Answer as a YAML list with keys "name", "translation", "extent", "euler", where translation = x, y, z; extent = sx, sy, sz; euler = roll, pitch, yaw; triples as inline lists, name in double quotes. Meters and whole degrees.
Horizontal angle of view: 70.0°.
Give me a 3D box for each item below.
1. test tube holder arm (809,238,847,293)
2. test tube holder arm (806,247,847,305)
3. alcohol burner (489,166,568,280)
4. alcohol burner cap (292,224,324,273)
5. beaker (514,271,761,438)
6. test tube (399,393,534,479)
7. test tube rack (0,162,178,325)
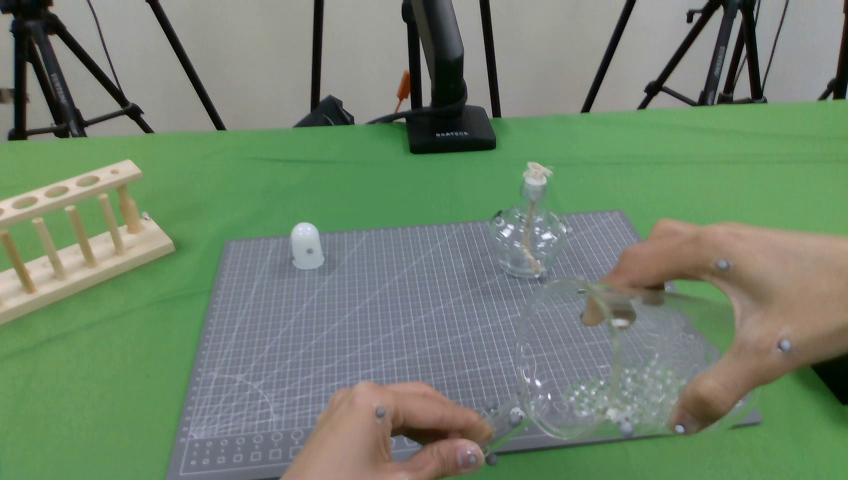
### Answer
- name: "test tube holder arm"
  translation: [0.359, 0.028, 0.521]
  extent: [0.015, 0.010, 0.087]
  euler: [2, 37, 2]
- name: "test tube holder arm"
  translation: [0.357, 0.059, 0.488]
  extent: [0.015, 0.013, 0.177]
  euler: [2, 36, 2]
- name: "alcohol burner"
  translation: [0.104, -0.020, 0.594]
  extent: [0.078, 0.120, 0.077]
  euler: [1, 37, -1]
- name: "alcohol burner cap"
  translation: [-0.121, 0.006, 0.620]
  extent: [0.034, 0.048, 0.033]
  euler: [0, 36, 1]
- name: "beaker"
  translation: [0.105, 0.062, 0.302]
  extent: [0.101, 0.084, 0.073]
  euler: [8, 42, -25]
- name: "test tube"
  translation: [0.003, 0.131, 0.335]
  extent: [0.017, 0.150, 0.017]
  euler: [37, 25, -20]
- name: "test tube rack"
  translation: [-0.378, 0.012, 0.583]
  extent: [0.242, 0.086, 0.066]
  euler: [-27, 44, -32]
